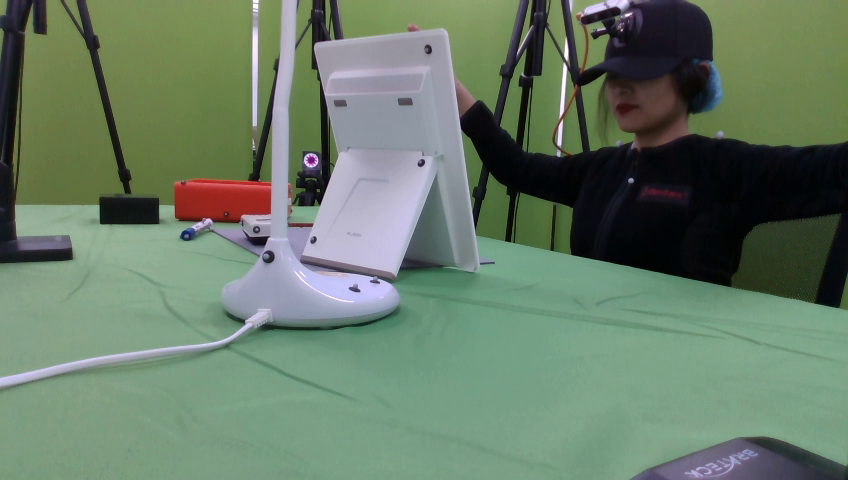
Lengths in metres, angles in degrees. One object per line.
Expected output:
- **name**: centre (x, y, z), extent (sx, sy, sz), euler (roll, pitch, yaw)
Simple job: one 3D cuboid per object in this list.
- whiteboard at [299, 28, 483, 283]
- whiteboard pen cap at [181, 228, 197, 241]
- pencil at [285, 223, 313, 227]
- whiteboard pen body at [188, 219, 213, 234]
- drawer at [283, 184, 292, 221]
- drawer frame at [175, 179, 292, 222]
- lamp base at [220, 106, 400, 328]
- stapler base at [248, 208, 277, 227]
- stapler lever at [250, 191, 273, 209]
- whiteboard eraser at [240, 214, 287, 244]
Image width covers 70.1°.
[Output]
- **whiteboard**: centre (-0.075, -0.082, 0.741), extent (0.216, 0.305, 0.144), euler (9, 30, 38)
- **whiteboard pen cap**: centre (-0.375, -0.010, 0.968), extent (0.018, 0.018, 0.033), euler (2, 10, -6)
- **pencil**: centre (-0.234, -0.030, 1.198), extent (0.195, 0.012, 0.012), euler (0, 8, -20)
- **whiteboard pen body**: centre (-0.382, -0.020, 1.026), extent (0.017, 0.017, 0.140), euler (2, 9, -6)
- **drawer**: centre (-0.397, -0.086, 1.314), extent (0.212, 0.073, 0.194), euler (1, 8, -9)
- **drawer frame**: centre (-0.402, -0.087, 1.311), extent (0.214, 0.082, 0.201), euler (1, 8, -9)
- **lamp base**: centre (-0.101, -0.023, 0.531), extent (0.160, 0.180, 0.179), euler (4, 10, 10)
- **stapler base**: centre (-0.350, -0.053, 1.310), extent (0.041, 0.024, 0.130), euler (1, 13, -4)
- **stapler lever**: centre (-0.350, -0.086, 1.305), extent (0.027, 0.040, 0.118), euler (1, 5, -4)
- **whiteboard eraser**: centre (-0.256, -0.018, 0.958), extent (0.056, 0.042, 0.112), euler (0, 8, -25)
